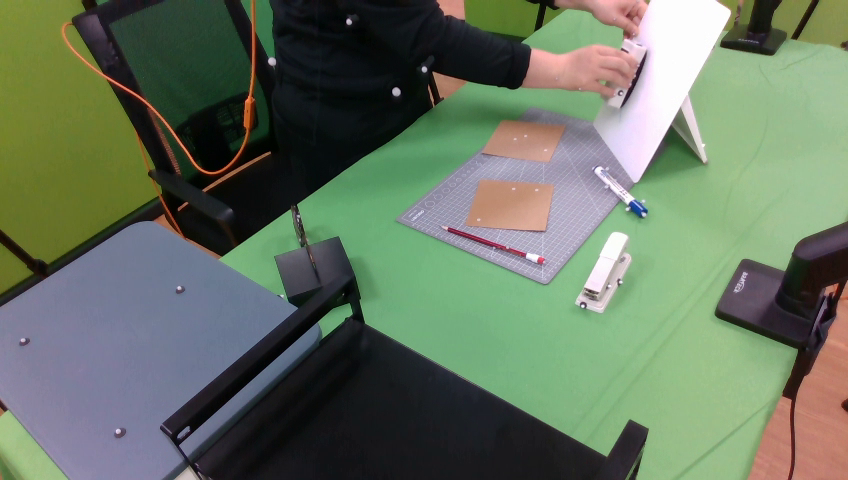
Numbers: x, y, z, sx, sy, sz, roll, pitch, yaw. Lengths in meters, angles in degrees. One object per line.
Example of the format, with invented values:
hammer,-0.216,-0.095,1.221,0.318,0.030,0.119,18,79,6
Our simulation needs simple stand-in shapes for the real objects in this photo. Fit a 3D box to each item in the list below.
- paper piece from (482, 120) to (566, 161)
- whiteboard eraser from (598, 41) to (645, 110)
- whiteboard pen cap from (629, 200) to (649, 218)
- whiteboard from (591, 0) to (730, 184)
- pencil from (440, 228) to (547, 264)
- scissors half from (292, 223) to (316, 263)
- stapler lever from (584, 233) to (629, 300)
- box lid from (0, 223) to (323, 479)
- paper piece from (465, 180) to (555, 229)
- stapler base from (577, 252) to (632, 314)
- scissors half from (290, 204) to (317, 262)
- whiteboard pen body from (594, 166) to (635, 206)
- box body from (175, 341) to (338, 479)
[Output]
paper piece,0.197,-0.198,1.188,0.135,0.004,0.135,12,42,20
whiteboard eraser,0.358,-0.296,1.088,0.042,0.113,0.055,10,29,-12
whiteboard pen cap,0.348,-0.052,0.983,0.018,0.018,0.033,-18,42,-12
whiteboard,0.451,-0.270,1.055,0.144,0.305,0.216,7,37,-14
pencil,0.106,0.007,0.958,0.192,0.012,0.012,18,46,30
scissors half,-0.187,0.007,0.954,0.013,0.040,0.174,-18,21,-15
stapler lever,0.261,0.034,0.858,0.026,0.040,0.118,16,46,30
box lid,-0.318,0.109,0.671,0.368,0.015,0.264,24,49,31
paper piece,0.149,-0.062,1.034,0.137,0.009,0.136,5,37,17
stapler base,0.264,0.051,0.875,0.041,0.024,0.131,16,47,30
scissors half,-0.189,-0.011,0.945,0.013,0.040,0.173,-13,36,-18
whiteboard pen body,0.331,-0.085,1.027,0.017,0.017,0.139,-17,42,-11
box body,-0.311,0.165,0.720,0.361,0.161,0.255,23,49,32
